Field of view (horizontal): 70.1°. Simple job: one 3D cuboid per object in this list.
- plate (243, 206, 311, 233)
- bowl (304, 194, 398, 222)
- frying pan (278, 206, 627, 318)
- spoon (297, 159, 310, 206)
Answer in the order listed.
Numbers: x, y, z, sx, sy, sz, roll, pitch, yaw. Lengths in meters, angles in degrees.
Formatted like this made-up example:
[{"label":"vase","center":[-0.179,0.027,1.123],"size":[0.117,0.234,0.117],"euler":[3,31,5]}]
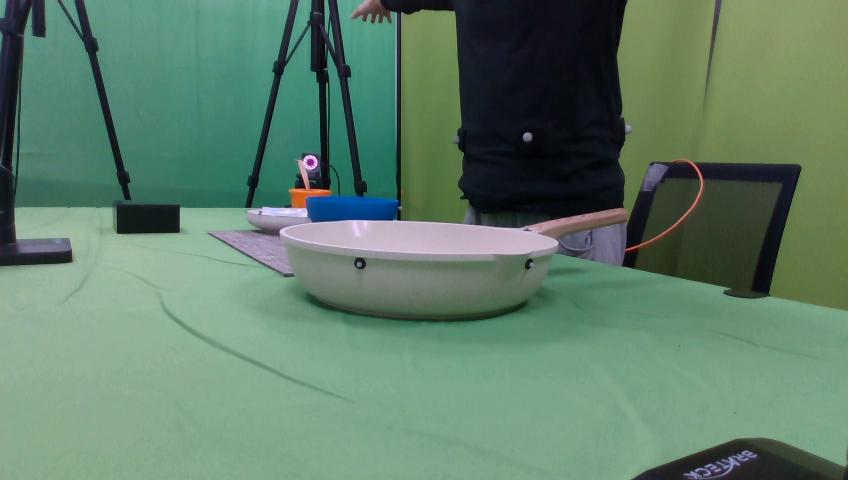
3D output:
[{"label":"plate","center":[-0.235,-0.037,1.150],"size":[0.208,0.039,0.207],"euler":[2,7,0]},{"label":"bowl","center":[-0.118,-0.031,0.974],"size":[0.151,0.077,0.151],"euler":[3,7,0]},{"label":"frying pan","center":[0.079,0.002,0.705],"size":[0.490,0.102,0.305],"euler":[-12,15,-33]},{"label":"spoon","center":[-0.260,-0.113,1.340],"size":[0.042,0.193,0.021],"euler":[-1,-36,-24]}]
